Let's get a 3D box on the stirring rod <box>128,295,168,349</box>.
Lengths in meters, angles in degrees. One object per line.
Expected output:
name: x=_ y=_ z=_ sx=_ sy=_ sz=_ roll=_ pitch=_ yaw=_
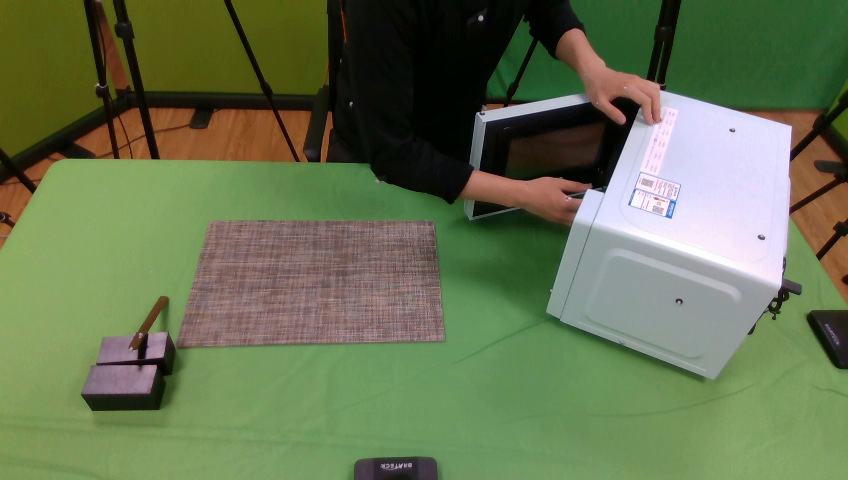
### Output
stirring rod: x=-0.451 y=0.131 z=0.996 sx=0.014 sy=0.006 sz=0.175 roll=9 pitch=21 yaw=-10

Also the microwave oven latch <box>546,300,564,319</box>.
microwave oven latch: x=0.242 y=0.102 z=1.081 sx=0.030 sy=0.029 sz=0.079 roll=22 pitch=48 yaw=17

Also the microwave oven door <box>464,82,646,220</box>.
microwave oven door: x=0.258 y=-0.177 z=1.209 sx=0.356 sy=0.245 sz=0.039 roll=-14 pitch=48 yaw=-16

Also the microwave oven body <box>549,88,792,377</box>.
microwave oven body: x=0.456 y=-0.028 z=1.088 sx=0.325 sy=0.261 sz=0.440 roll=20 pitch=47 yaw=16
